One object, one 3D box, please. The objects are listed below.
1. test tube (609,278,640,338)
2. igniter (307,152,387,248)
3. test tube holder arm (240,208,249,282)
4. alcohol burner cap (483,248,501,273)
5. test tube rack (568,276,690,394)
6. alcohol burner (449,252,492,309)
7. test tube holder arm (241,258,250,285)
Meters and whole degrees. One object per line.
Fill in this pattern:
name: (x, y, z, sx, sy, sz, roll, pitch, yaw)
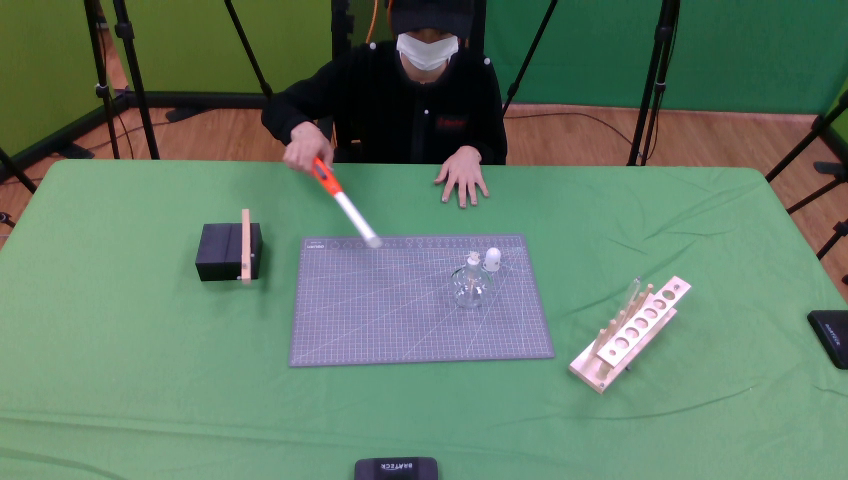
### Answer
test tube: (0.331, 0.115, 1.007, 0.017, 0.151, 0.017, 2, 45, -2)
igniter: (-0.142, -0.078, 1.063, 0.025, 0.057, 0.274, -40, 52, -2)
test tube holder arm: (-0.323, 0.006, 1.096, 0.015, 0.013, 0.177, -1, 48, -15)
alcohol burner cap: (0.130, 0.037, 1.156, 0.034, 0.048, 0.033, 1, 46, -1)
test tube rack: (0.353, 0.149, 1.039, 0.242, 0.085, 0.066, -34, 56, -31)
alcohol burner: (0.084, 0.066, 1.074, 0.078, 0.120, 0.077, 1, 44, -1)
test tube holder arm: (-0.316, 0.042, 1.071, 0.015, 0.010, 0.087, -1, 48, -15)
